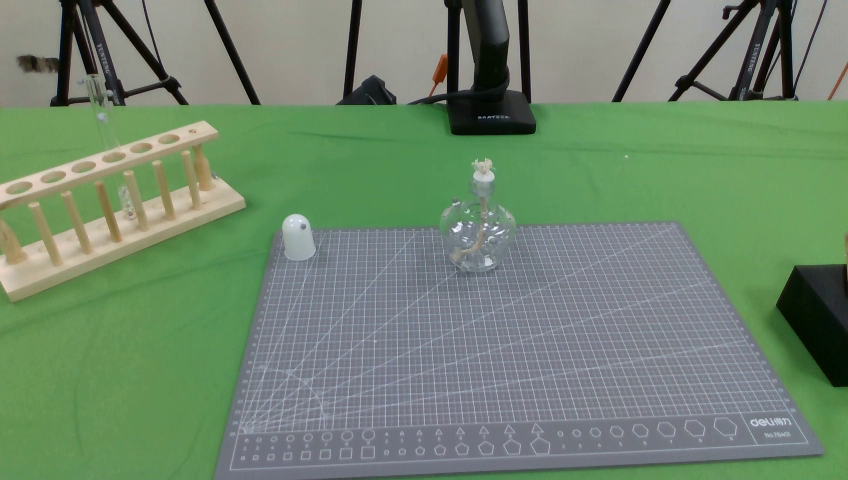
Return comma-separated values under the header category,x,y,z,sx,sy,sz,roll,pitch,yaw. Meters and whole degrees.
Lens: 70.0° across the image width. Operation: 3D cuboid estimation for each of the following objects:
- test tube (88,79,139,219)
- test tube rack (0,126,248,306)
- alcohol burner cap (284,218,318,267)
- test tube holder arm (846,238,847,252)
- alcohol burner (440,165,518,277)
category,x,y,z,sx,sy,sz,roll,pitch,yaw
test tube,-0.313,-0.088,0.616,0.017,0.151,0.017,1,32,0
test tube rack,-0.314,-0.033,0.625,0.242,0.086,0.066,-28,46,-32
alcohol burner cap,-0.127,0.000,0.618,0.034,0.048,0.033,1,39,-1
test tube holder arm,0.392,0.021,0.547,0.010,0.015,0.087,18,42,18
alcohol burner,0.055,-0.023,0.593,0.078,0.120,0.077,2,39,-1
